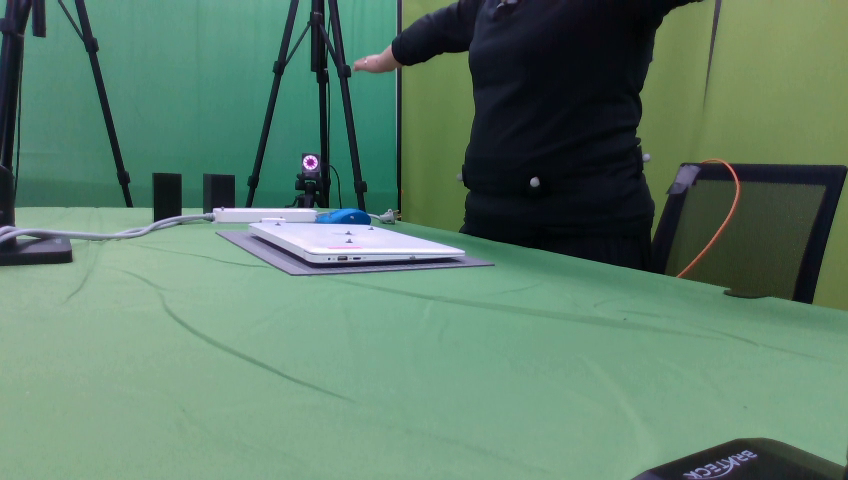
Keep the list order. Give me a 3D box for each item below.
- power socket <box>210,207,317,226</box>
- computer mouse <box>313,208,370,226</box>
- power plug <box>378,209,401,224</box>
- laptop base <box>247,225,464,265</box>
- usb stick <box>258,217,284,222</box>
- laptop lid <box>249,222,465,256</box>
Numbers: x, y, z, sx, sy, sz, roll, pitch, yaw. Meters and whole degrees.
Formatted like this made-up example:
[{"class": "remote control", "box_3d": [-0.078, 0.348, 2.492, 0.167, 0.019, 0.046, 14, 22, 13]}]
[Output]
[{"class": "power socket", "box_3d": [-0.335, -0.051, 1.281, 0.228, 0.032, 0.072, -2, 9, -29]}, {"class": "computer mouse", "box_3d": [-0.175, -0.047, 1.292, 0.118, 0.041, 0.062, -7, 14, -34]}, {"class": "power plug", "box_3d": [-0.082, -0.061, 1.421, 0.053, 0.035, 0.072, -16, 20, -5]}, {"class": "laptop base", "box_3d": [-0.125, 0.007, 0.955, 0.237, 0.023, 0.352, 2, 6, -30]}, {"class": "usb stick", "box_3d": [-0.291, -0.028, 1.118, 0.059, 0.027, 0.021, -4, 12, -29]}, {"class": "laptop lid", "box_3d": [-0.122, -0.005, 0.955, 0.243, 0.013, 0.355, 1, 7, -28]}]
